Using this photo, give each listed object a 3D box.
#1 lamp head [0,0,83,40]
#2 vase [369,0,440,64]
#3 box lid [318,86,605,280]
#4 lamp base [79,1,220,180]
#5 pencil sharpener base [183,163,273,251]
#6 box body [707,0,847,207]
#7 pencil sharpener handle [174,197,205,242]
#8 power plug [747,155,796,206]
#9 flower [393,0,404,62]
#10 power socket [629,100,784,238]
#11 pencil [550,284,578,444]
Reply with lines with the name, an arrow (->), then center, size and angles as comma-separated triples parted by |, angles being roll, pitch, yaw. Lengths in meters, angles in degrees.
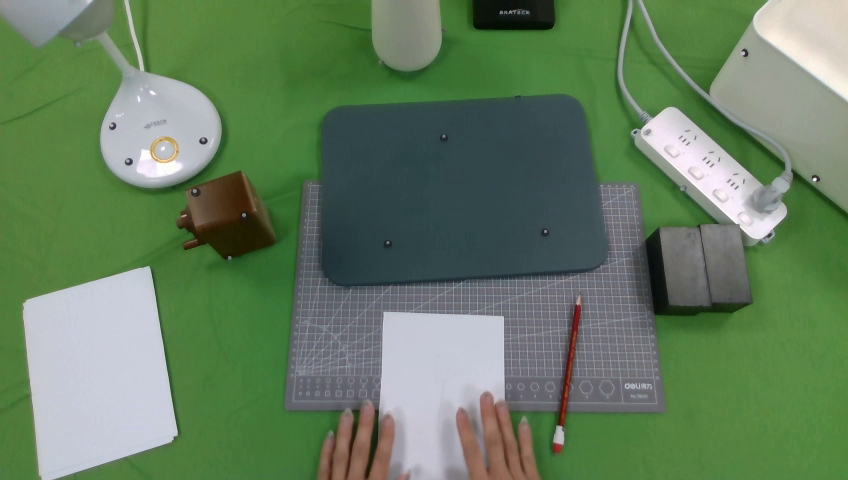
lamp head -> -0.321, -0.241, 0.475 | 0.112, 0.124, 0.111 | -27, 37, 23
vase -> -0.026, -0.321, 0.788 | 0.098, 0.201, 0.097 | 1, 70, -1
box lid -> 0.046, -0.082, 0.806 | 0.372, 0.015, 0.261 | -4, 71, -2
lamp base -> -0.364, -0.189, 0.748 | 0.160, 0.181, 0.178 | -30, 71, -10
pencil sharpener base -> -0.237, -0.036, 0.737 | 0.077, 0.107, 0.061 | -20, 72, -7
box body -> 0.589, -0.195, 0.772 | 0.254, 0.161, 0.362 | -42, 77, -13
pencil sharpener handle -> -0.284, -0.020, 0.718 | 0.031, 0.068, 0.035 | -20, 60, -7
power plug -> 0.445, -0.069, 0.772 | 0.072, 0.053, 0.035 | -27, 71, -14
flower -> -0.016, -0.361, 0.715 | 0.044, 0.364, 0.038 | -22, 60, -24
power socket -> 0.374, -0.096, 0.805 | 0.072, 0.033, 0.225 | -38, 76, -13
pencil -> 0.171, 0.146, 0.729 | 0.012, 0.012, 0.193 | 12, 73, 4
